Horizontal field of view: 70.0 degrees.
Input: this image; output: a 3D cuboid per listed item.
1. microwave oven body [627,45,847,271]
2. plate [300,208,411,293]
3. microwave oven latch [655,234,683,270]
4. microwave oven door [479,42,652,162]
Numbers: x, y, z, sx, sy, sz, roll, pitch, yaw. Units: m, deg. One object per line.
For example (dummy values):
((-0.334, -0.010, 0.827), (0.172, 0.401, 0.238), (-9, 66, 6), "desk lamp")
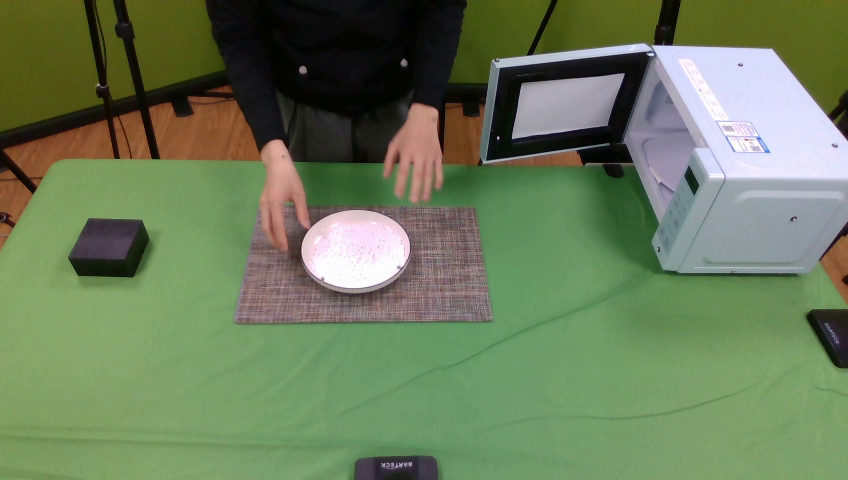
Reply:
((0.619, -0.172, 1.234), (0.326, 0.261, 0.439), (0, 46, -3), "microwave oven body")
((-0.128, 0.022, 1.149), (0.209, 0.038, 0.208), (2, 47, -2), "plate")
((0.473, 0.022, 1.175), (0.030, 0.029, 0.078), (2, 46, -1), "microwave oven latch")
((0.306, -0.301, 1.328), (0.356, 0.245, 0.039), (-10, 48, -13), "microwave oven door")
